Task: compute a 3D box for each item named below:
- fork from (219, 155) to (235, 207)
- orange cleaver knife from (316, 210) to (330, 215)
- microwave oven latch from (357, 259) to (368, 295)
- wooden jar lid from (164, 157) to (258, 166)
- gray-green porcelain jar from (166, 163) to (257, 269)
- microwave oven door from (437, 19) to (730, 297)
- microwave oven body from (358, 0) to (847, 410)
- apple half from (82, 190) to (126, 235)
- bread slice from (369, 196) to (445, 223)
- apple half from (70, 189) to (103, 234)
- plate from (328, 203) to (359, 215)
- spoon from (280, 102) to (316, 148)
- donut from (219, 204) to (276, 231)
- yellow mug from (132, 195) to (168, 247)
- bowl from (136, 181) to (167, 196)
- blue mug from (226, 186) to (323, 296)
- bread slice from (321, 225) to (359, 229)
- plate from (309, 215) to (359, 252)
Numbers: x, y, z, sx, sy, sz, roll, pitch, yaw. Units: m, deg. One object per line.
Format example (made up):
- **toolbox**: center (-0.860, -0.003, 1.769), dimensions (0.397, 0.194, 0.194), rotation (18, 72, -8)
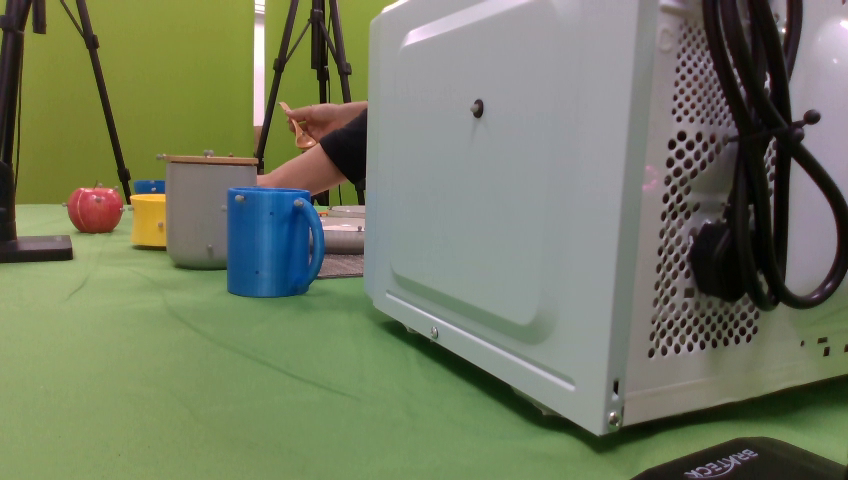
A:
- **fork**: center (-0.459, -0.134, 1.415), dimensions (0.028, 0.018, 0.207), rotation (-1, -34, -24)
- **orange cleaver knife**: center (-0.259, -0.064, 1.423), dimensions (0.212, 0.012, 0.077), rotation (-4, 3, -30)
- **microwave oven latch**: center (-0.019, 0.031, 0.529), dimensions (0.079, 0.029, 0.030), rotation (-1, 7, -26)
- **wooden jar lid**: center (-0.261, -0.093, 0.746), dimensions (0.108, 0.020, 0.108), rotation (0, 9, 0)
- **gray-green porcelain jar**: center (-0.263, -0.031, 0.754), dimensions (0.106, 0.126, 0.106), rotation (2, 7, 0)
- **microwave oven door**: center (0.181, -0.076, 0.618), dimensions (0.358, 0.243, 0.039), rotation (-2, 9, -28)
- **microwave oven body**: center (0.210, -0.051, 0.471), dimensions (0.444, 0.260, 0.324), rotation (-1, 7, -28)
- **apple half**: center (-0.516, -0.046, 0.994), dimensions (0.032, 0.081, 0.081), rotation (0, 6, 26)
- **bread slice**: center (-0.040, -0.057, 1.142), dimensions (0.107, 0.018, 0.133), rotation (-8, -8, -40)
- **apple half**: center (-0.552, -0.048, 1.009), dimensions (0.053, 0.074, 0.081), rotation (-1, 9, 26)
- **plate**: center (-0.102, -0.053, 1.299), dimensions (0.209, 0.038, 0.209), rotation (2, 8, 0)
- **spoon**: center (-0.278, -0.252, 1.311), dimensions (0.042, 0.021, 0.193), rotation (-20, 51, -17)
- **donut**: center (-0.316, -0.039, 1.083), dimensions (0.099, 0.048, 0.099), rotation (2, 7, 0)
- **yellow mug**: center (-0.357, -0.027, 0.875), dimensions (0.130, 0.064, 0.100), rotation (8, 9, 26)
- **bowl**: center (-0.497, -0.076, 1.221), dimensions (0.151, 0.077, 0.151), rotation (2, 8, 0)
- **blue mug**: center (-0.148, 0.000, 0.618), dimensions (0.116, 0.106, 0.083), rotation (7, 9, 33)
- **bread slice**: center (-0.125, -0.009, 0.938), dimensions (0.131, 0.019, 0.105), rotation (6, 9, 32)
- **plate**: center (-0.131, -0.011, 0.945), dimensions (0.208, 0.039, 0.207), rotation (2, 8, 0)
